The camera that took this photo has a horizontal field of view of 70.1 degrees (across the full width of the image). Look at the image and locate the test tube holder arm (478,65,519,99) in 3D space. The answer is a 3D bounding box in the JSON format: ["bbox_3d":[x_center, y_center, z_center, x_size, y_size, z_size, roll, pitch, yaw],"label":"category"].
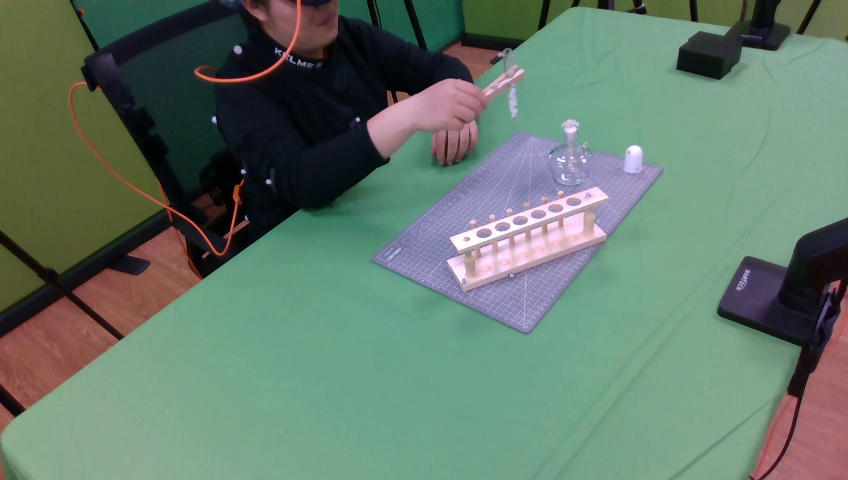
[{"bbox_3d":[0.122,-0.255,0.987,0.088,0.015,0.010,-42,56,-13],"label":"test tube holder arm"}]

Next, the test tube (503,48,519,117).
[{"bbox_3d":[0.146,-0.257,1.005,0.017,0.151,0.017,-6,59,10],"label":"test tube"}]

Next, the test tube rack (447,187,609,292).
[{"bbox_3d":[0.155,-0.011,0.913,0.243,0.085,0.066,-19,41,-11],"label":"test tube rack"}]

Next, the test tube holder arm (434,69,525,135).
[{"bbox_3d":[0.091,-0.224,0.976,0.178,0.015,0.013,-36,55,-9],"label":"test tube holder arm"}]

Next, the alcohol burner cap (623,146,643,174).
[{"bbox_3d":[0.369,-0.142,1.061,0.034,0.048,0.033,-7,41,6],"label":"alcohol burner cap"}]

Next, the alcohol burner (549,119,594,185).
[{"bbox_3d":[0.254,-0.155,1.043,0.078,0.120,0.077,-7,40,7],"label":"alcohol burner"}]
